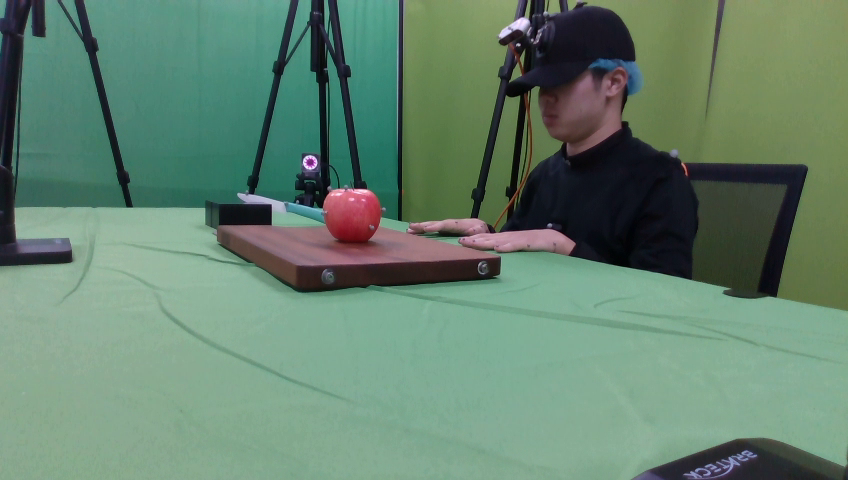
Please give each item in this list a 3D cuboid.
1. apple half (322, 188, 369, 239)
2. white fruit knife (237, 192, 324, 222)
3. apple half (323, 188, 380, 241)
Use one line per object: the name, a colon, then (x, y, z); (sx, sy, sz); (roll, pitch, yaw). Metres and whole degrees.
apple half: (-0.119, -0.040, 0.868); (0.082, 0.081, 0.032); (-4, 14, -41)
white fruit knife: (-0.286, -0.069, 1.251); (0.208, 0.027, 0.016); (14, -1, -34)
apple half: (-0.093, -0.034, 0.839); (0.081, 0.074, 0.053); (1, 10, -41)
